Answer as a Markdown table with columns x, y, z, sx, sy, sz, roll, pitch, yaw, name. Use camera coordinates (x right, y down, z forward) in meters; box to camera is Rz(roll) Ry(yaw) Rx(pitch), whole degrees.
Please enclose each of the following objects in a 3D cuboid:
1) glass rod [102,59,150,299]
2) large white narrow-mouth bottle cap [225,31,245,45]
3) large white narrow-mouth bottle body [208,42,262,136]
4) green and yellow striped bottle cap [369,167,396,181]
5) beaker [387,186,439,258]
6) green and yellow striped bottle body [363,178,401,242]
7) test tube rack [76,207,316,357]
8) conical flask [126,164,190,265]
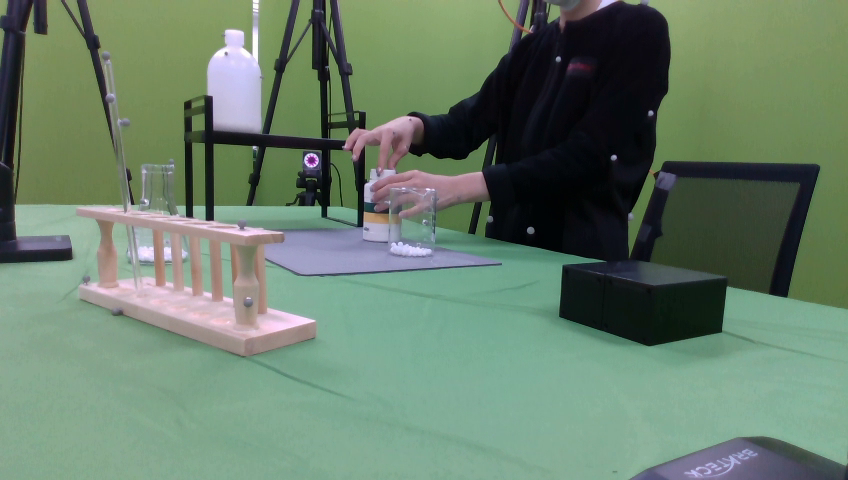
| x | y | z | sx | sy | sz | roll | pitch | yaw | name |
| --- | --- | --- | --- | --- | --- | --- | --- | --- | --- |
| -0.243 | -0.045 | 0.496 | 0.008 | 0.199 | 0.008 | -4 | 13 | 1 | glass rod |
| -0.365 | -0.389 | 1.166 | 0.038 | 0.024 | 0.037 | 3 | 9 | 0 | large white narrow-mouth bottle cap |
| -0.368 | -0.304 | 1.181 | 0.102 | 0.194 | 0.101 | 2 | 9 | 0 | large white narrow-mouth bottle body |
| -0.070 | -0.112 | 1.028 | 0.045 | 0.020 | 0.045 | 5 | 4 | 0 | green and yellow striped bottle cap |
| -0.015 | -0.027 | 0.885 | 0.074 | 0.100 | 0.083 | -1 | 8 | -20 | beaker |
| -0.072 | -0.059 | 1.036 | 0.063 | 0.119 | 0.063 | 3 | 8 | 0 | green and yellow striped bottle body |
| -0.196 | 0.023 | 0.500 | 0.241 | 0.085 | 0.067 | 8 | 9 | 36 | test tube rack |
| -0.332 | -0.033 | 0.756 | 0.075 | 0.122 | 0.075 | 2 | 7 | 0 | conical flask |
